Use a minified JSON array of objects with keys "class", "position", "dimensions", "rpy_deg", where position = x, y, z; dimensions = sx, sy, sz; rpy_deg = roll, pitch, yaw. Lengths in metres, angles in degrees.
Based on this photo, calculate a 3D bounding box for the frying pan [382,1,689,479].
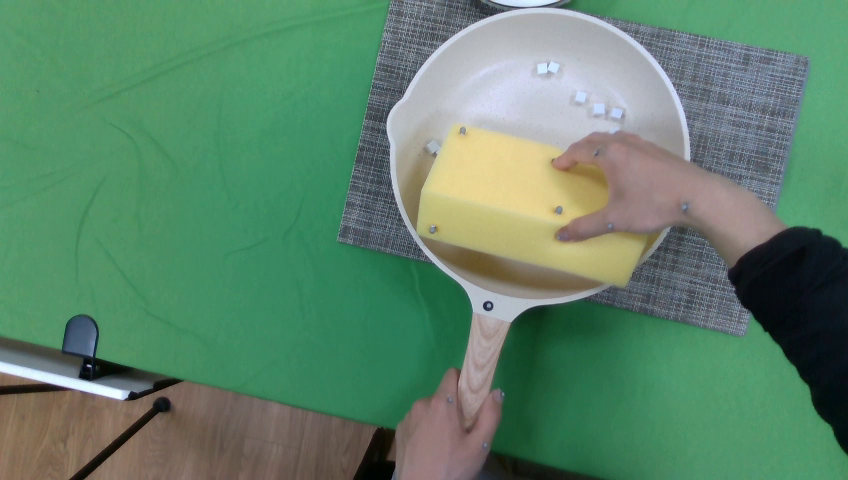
[{"class":"frying pan","position":[0.080,0.011,0.611],"dimensions":[0.306,0.103,0.486],"rpy_deg":[16,83,5]}]

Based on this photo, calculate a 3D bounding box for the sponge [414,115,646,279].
[{"class":"sponge","position":[0.106,-0.045,0.595],"dimensions":[0.206,0.061,0.117],"rpy_deg":[13,47,5]}]

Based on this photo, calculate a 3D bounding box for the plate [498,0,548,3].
[{"class":"plate","position":[0.108,-0.351,0.643],"dimensions":[0.207,0.039,0.207],"rpy_deg":[0,91,5]}]
